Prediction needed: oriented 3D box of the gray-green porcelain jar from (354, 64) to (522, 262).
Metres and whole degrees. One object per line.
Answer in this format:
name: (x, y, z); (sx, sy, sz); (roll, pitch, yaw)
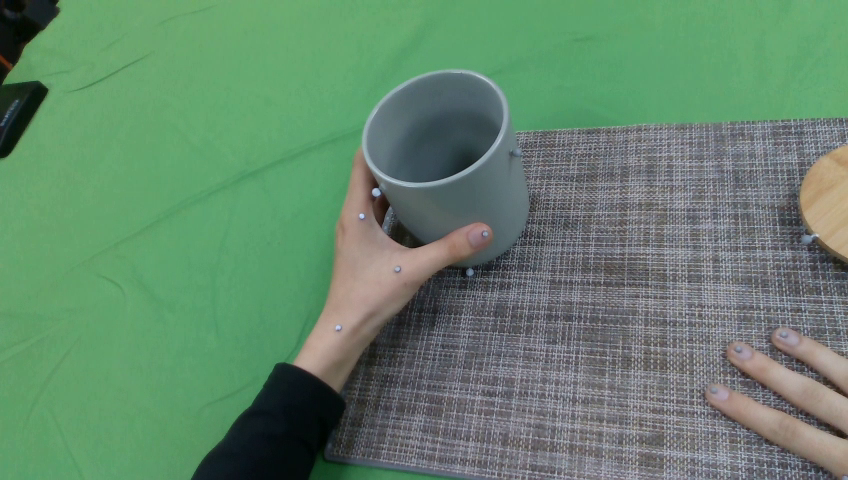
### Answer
gray-green porcelain jar: (0.018, -0.051, 0.464); (0.105, 0.128, 0.105); (-8, 58, 13)

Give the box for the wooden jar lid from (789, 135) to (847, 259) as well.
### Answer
wooden jar lid: (0.313, -0.027, 0.419); (0.108, 0.021, 0.107); (-8, 60, 14)
